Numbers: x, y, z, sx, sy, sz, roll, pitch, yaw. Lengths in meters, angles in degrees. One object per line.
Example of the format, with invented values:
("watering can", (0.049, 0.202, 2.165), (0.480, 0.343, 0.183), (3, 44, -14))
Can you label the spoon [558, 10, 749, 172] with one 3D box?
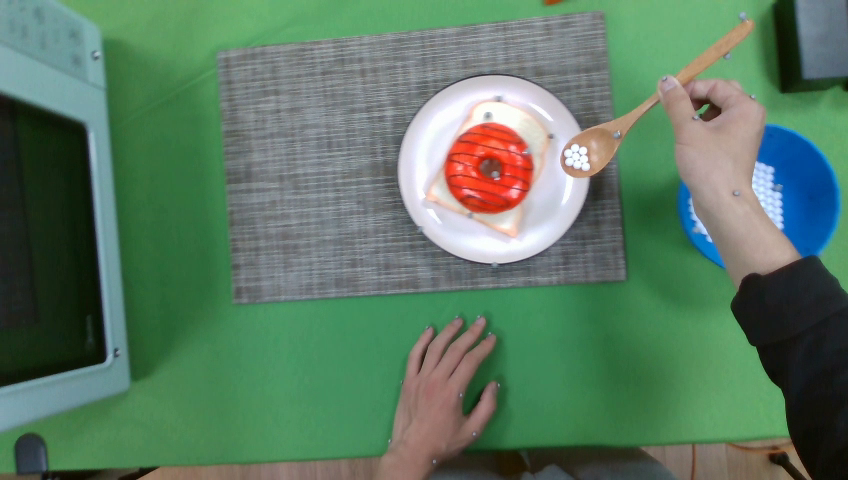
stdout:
("spoon", (0.199, -0.128, 0.536), (0.194, 0.022, 0.041), (-40, 79, 30))

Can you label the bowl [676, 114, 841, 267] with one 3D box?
("bowl", (0.328, -0.046, 0.623), (0.151, 0.077, 0.151), (0, 88, 5))

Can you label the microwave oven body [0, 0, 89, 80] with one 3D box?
("microwave oven body", (-0.532, -0.029, 0.613), (0.326, 0.260, 0.441), (-6, 89, 5))

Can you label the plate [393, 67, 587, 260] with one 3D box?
("plate", (0.071, -0.082, 0.666), (0.207, 0.039, 0.207), (0, 89, 5))

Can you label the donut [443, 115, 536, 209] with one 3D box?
("donut", (0.068, -0.081, 0.638), (0.099, 0.048, 0.099), (0, 89, 7))

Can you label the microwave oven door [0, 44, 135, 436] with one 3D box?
("microwave oven door", (-0.383, -0.004, 0.593), (0.039, 0.244, 0.355), (-7, 88, 6))

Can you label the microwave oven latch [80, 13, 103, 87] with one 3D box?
("microwave oven latch", (-0.394, -0.218, 0.700), (0.030, 0.029, 0.079), (-6, 89, 5))

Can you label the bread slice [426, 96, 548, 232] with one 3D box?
("bread slice", (0.074, -0.089, 0.667), (0.107, 0.018, 0.134), (21, 91, 5))
